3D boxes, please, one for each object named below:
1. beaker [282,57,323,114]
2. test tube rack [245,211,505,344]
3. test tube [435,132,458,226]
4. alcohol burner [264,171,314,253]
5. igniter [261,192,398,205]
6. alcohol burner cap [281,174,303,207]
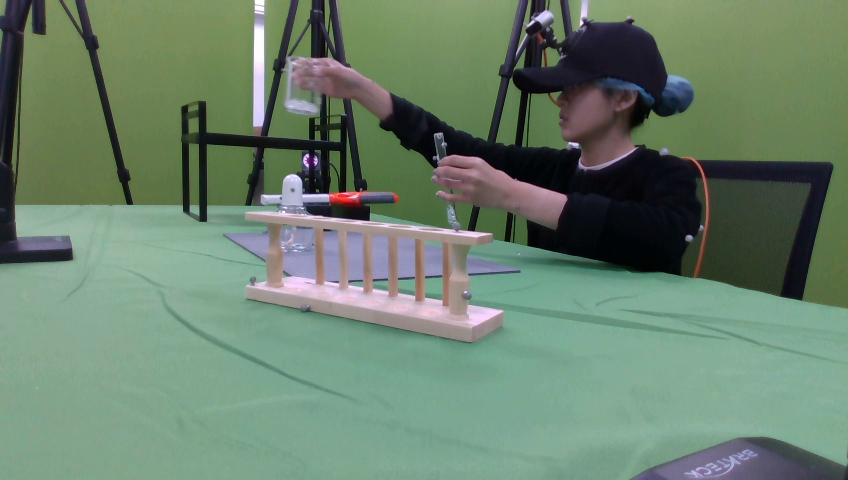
[{"bbox_3d":[-0.239,-0.302,1.189,0.074,0.100,0.083,3,5,-26],"label":"beaker"},{"bbox_3d":[-0.049,0.025,0.547,0.241,0.085,0.067,7,8,29],"label":"test tube rack"},{"bbox_3d":[0.035,-0.096,0.962,0.017,0.150,0.017,-9,6,1],"label":"test tube"},{"bbox_3d":[-0.194,-0.042,0.888,0.078,0.119,0.078,3,5,0],"label":"alcohol burner"},{"bbox_3d":[-0.185,-0.083,1.217,0.278,0.025,0.057,-2,12,-25],"label":"igniter"},{"bbox_3d":[-0.193,-0.072,0.884,0.034,0.048,0.034,1,5,0],"label":"alcohol burner cap"}]
